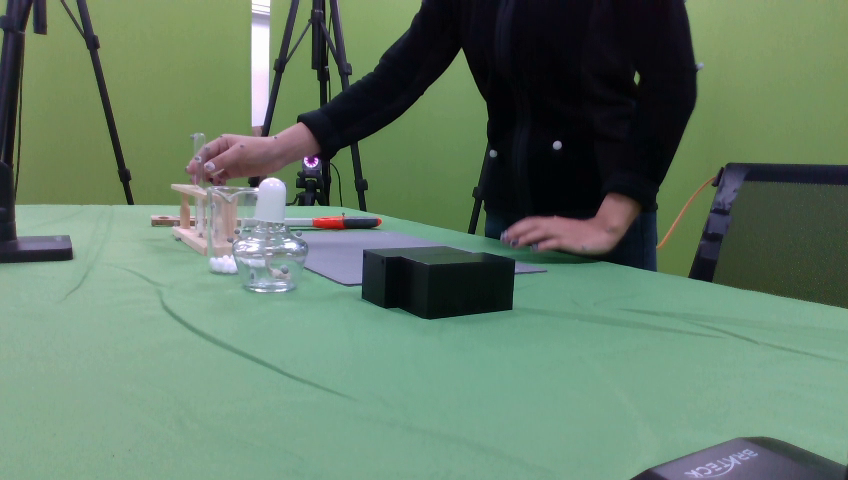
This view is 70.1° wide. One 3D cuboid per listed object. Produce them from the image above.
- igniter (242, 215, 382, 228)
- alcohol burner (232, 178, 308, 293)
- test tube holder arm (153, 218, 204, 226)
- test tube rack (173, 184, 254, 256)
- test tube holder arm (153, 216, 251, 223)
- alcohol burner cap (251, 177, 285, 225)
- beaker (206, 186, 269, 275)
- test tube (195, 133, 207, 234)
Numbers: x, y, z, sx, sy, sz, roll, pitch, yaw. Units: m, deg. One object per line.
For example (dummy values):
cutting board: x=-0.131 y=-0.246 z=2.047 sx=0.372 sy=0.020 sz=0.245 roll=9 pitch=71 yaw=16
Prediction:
igniter: x=-0.213 y=-0.036 z=1.187 sx=0.278 sy=0.025 sz=0.057 roll=-2 pitch=-2 yaw=-30
alcohol burner: x=-0.161 y=-0.006 z=0.632 sx=0.078 sy=0.119 sz=0.078 roll=1 pitch=8 yaw=0
test tube holder arm: x=-0.459 y=-0.034 z=1.132 sx=0.088 sy=0.015 sz=0.010 roll=-1 pitch=43 yaw=-30
test tube rack: x=-0.328 y=-0.036 z=0.927 sx=0.067 sy=0.085 sz=0.241 roll=-2 pitch=9 yaw=-32
test tube holder arm: x=-0.422 y=-0.039 z=1.159 sx=0.179 sy=0.015 sz=0.013 roll=-2 pitch=43 yaw=-31
alcohol burner cap: x=-0.160 y=-0.041 z=0.628 sx=0.034 sy=0.048 sz=0.034 roll=9 pitch=7 yaw=-1
beaker: x=-0.220 y=-0.012 z=0.717 sx=0.074 sy=0.100 sz=0.084 roll=2 pitch=8 yaw=-3
test tube: x=-0.334 y=-0.084 z=0.905 sx=0.017 sy=0.150 sz=0.017 roll=0 pitch=1 yaw=0
